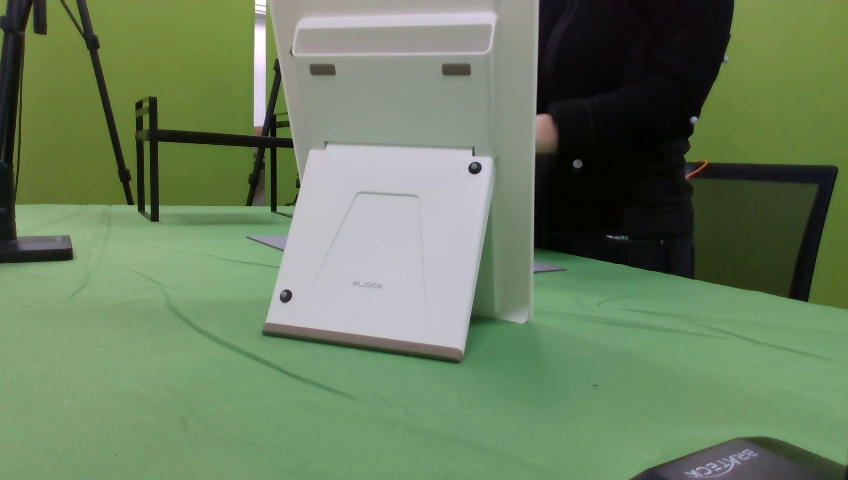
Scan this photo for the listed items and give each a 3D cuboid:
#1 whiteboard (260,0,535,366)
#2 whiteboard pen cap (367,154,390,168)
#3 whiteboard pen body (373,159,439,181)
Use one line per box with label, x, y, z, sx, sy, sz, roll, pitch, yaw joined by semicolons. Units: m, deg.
whiteboard;-0.037;-0.040;0.457;0.216;0.305;0.144;5;28;19
whiteboard pen cap;-0.066;-0.115;0.893;0.018;0.018;0.033;9;1;43
whiteboard pen body;-0.027;-0.109;0.938;0.017;0.017;0.141;9;1;43
